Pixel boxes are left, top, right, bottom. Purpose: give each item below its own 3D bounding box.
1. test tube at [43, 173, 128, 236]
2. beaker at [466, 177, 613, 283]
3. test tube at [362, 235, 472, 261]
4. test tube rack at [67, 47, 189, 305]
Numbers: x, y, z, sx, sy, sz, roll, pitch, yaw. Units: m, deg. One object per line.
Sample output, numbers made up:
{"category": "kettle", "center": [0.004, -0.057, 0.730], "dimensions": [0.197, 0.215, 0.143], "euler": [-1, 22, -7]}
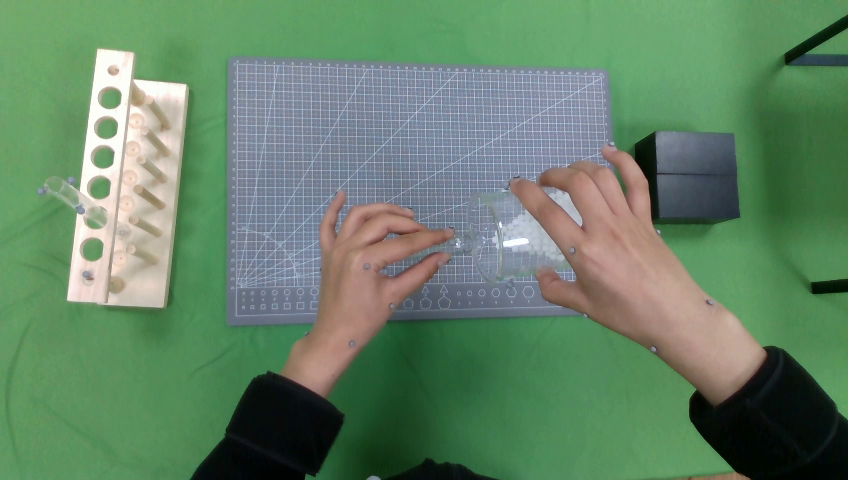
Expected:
{"category": "test tube", "center": [-0.305, -0.028, 0.556], "dimensions": [0.017, 0.150, 0.017], "euler": [2, 76, -6]}
{"category": "beaker", "center": [0.092, -0.010, 0.489], "dimensions": [0.100, 0.084, 0.074], "euler": [-10, 87, -14]}
{"category": "test tube", "center": [-0.012, 0.008, 0.569], "dimensions": [0.017, 0.149, 0.017], "euler": [5, 83, -40]}
{"category": "test tube rack", "center": [-0.293, -0.058, 0.611], "dimensions": [0.067, 0.085, 0.241], "euler": [4, 83, -8]}
